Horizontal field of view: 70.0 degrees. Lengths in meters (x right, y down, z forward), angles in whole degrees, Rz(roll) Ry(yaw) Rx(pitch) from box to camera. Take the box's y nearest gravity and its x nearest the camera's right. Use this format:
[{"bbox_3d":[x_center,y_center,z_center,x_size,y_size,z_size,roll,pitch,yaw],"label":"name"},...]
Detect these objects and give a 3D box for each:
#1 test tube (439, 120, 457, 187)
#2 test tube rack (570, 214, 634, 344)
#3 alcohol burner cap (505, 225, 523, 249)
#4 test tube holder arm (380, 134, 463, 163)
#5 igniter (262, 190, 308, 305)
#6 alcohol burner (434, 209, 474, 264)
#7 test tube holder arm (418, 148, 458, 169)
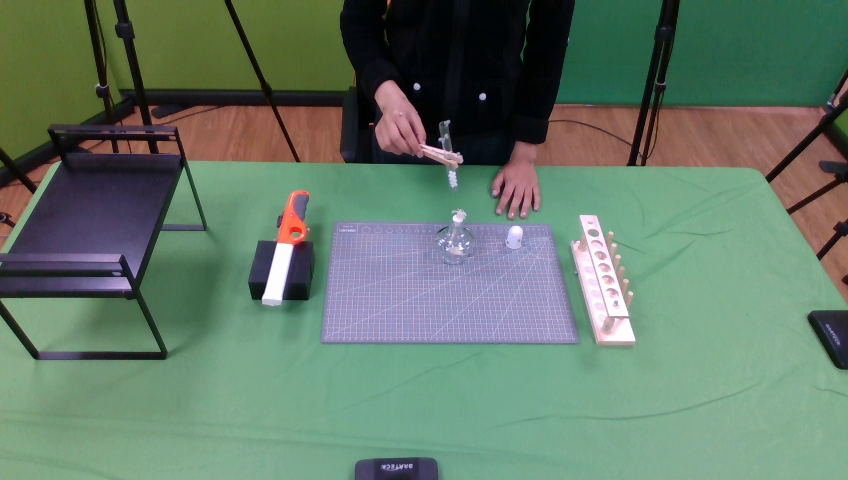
[{"bbox_3d":[0.044,-0.149,1.073,0.017,0.151,0.017,-6,49,7],"label":"test tube"},{"bbox_3d":[0.333,0.067,1.116,0.067,0.085,0.241,1,46,-4],"label":"test tube rack"},{"bbox_3d":[0.180,-0.009,1.203,0.034,0.048,0.033,2,47,-2],"label":"alcohol burner cap"},{"bbox_3d":[-0.007,-0.169,1.112,0.177,0.015,0.013,21,58,29],"label":"test tube holder arm"},{"bbox_3d":[-0.252,0.004,1.107,0.057,0.025,0.275,7,47,-6],"label":"igniter"},{"bbox_3d":[0.058,-0.012,1.147,0.078,0.119,0.077,3,44,-3],"label":"alcohol burner"},{"bbox_3d":[0.025,-0.150,1.087,0.087,0.015,0.010,29,63,33],"label":"test tube holder arm"}]
